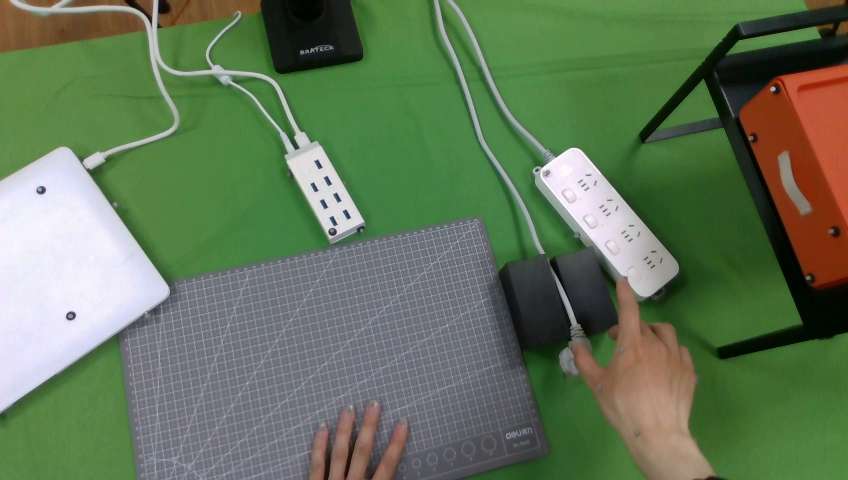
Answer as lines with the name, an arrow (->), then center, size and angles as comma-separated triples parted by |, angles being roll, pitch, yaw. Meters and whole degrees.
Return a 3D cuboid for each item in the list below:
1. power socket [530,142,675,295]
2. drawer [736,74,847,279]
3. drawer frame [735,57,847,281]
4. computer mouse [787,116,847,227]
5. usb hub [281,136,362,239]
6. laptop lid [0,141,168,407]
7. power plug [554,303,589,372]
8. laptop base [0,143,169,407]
power socket -> 0.228, -0.029, 0.775 | 0.072, 0.033, 0.226 | -35, 80, -14
drawer -> 0.449, -0.080, 0.599 | 0.212, 0.073, 0.193 | -12, 75, -9
drawer frame -> 0.452, -0.083, 0.599 | 0.214, 0.083, 0.200 | -13, 76, -10
computer mouse -> 0.420, -0.072, 0.610 | 0.063, 0.041, 0.116 | -17, 75, -6
usb hub -> -0.129, -0.066, 0.755 | 0.049, 0.025, 0.124 | -28, 79, -11
laptop lid -> -0.499, 0.068, 0.673 | 0.356, 0.013, 0.241 | -35, 82, -13
power plug -> 0.171, 0.118, 0.707 | 0.035, 0.053, 0.072 | 17, 53, -16
laptop base -> -0.502, 0.070, 0.685 | 0.354, 0.023, 0.235 | -37, 84, -13
